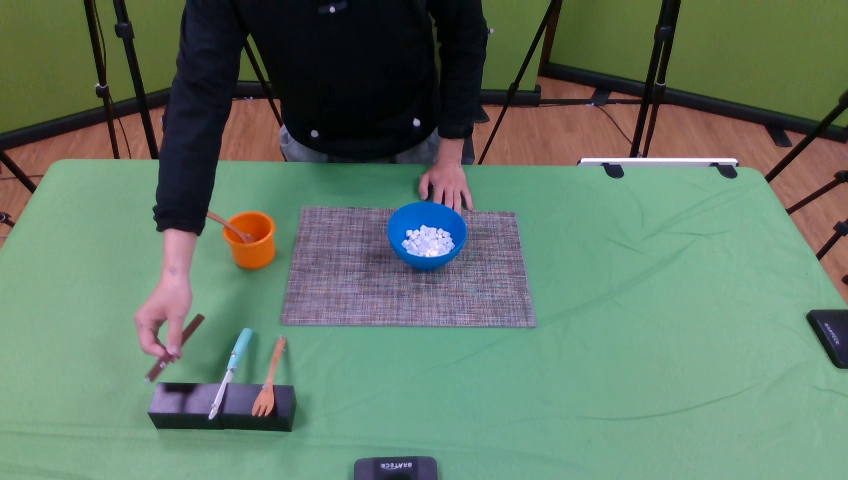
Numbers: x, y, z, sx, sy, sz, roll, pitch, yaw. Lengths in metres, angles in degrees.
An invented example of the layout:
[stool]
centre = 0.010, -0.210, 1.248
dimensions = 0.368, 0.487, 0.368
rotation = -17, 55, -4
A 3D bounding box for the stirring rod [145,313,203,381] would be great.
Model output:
[stirring rod]
centre = -0.370, 0.155, 0.906
dimensions = 0.014, 0.006, 0.175
rotation = 37, 20, -11

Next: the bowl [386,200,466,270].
[bowl]
centre = 0.002, 0.004, 1.150
dimensions = 0.151, 0.077, 0.150
rotation = 2, 46, -2

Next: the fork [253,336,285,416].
[fork]
centre = -0.235, 0.206, 0.938
dimensions = 0.028, 0.019, 0.206
rotation = -3, 26, -3

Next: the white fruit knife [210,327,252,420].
[white fruit knife]
centre = -0.298, 0.200, 0.938
dimensions = 0.016, 0.027, 0.206
rotation = -1, 30, 0

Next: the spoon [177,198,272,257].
[spoon]
centre = -0.361, -0.025, 1.107
dimensions = 0.021, 0.195, 0.041
rotation = -31, 37, 29
